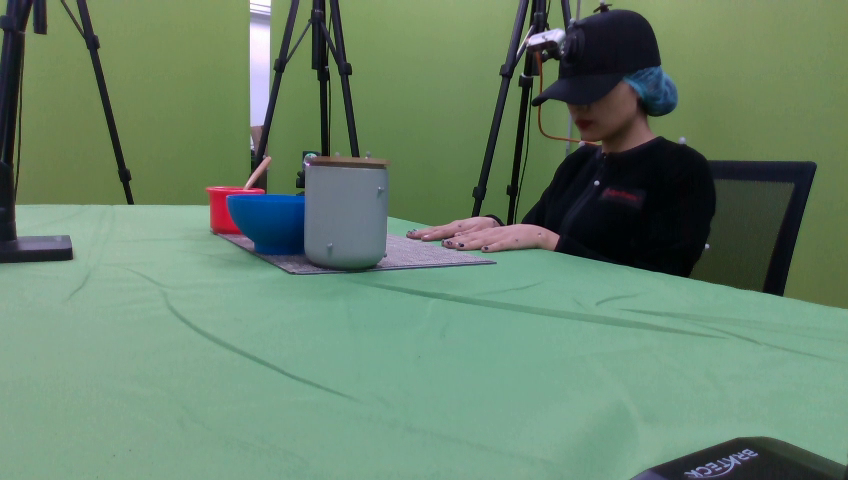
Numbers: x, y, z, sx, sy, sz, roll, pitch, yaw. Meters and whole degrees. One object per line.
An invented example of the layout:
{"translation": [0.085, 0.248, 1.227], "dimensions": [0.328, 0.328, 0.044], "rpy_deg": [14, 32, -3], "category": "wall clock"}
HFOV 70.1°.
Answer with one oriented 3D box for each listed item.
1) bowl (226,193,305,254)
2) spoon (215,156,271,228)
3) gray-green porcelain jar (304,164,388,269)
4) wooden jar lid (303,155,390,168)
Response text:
{"translation": [-0.205, -0.024, 0.866], "dimensions": [0.151, 0.077, 0.151], "rpy_deg": [3, 7, 0], "category": "bowl"}
{"translation": [-0.319, -0.090, 1.091], "dimensions": [0.041, 0.022, 0.193], "rpy_deg": [7, 52, 16], "category": "spoon"}
{"translation": [-0.099, -0.031, 0.770], "dimensions": [0.106, 0.126, 0.106], "rpy_deg": [2, 7, 0], "category": "gray-green porcelain jar"}
{"translation": [-0.097, -0.095, 0.761], "dimensions": [0.108, 0.020, 0.108], "rpy_deg": [1, 7, 0], "category": "wooden jar lid"}
